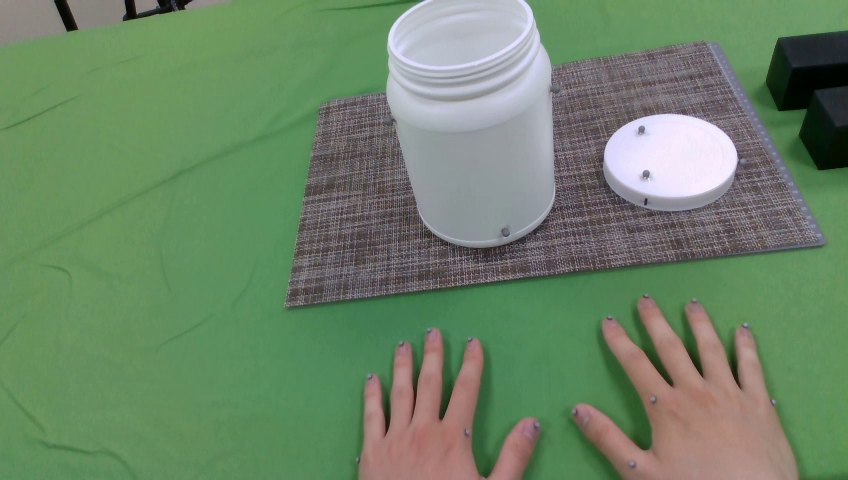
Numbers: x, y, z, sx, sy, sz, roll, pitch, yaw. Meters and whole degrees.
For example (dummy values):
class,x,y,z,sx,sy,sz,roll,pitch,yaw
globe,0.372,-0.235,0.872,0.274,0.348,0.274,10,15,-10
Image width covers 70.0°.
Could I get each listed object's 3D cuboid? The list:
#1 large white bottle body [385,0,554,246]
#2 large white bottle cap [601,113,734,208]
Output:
class,x,y,z,sx,sy,sz,roll,pitch,yaw
large white bottle body,0.041,-0.099,0.510,0.130,0.186,0.129,-7,48,8
large white bottle cap,0.224,-0.076,0.560,0.115,0.018,0.113,-7,49,8
